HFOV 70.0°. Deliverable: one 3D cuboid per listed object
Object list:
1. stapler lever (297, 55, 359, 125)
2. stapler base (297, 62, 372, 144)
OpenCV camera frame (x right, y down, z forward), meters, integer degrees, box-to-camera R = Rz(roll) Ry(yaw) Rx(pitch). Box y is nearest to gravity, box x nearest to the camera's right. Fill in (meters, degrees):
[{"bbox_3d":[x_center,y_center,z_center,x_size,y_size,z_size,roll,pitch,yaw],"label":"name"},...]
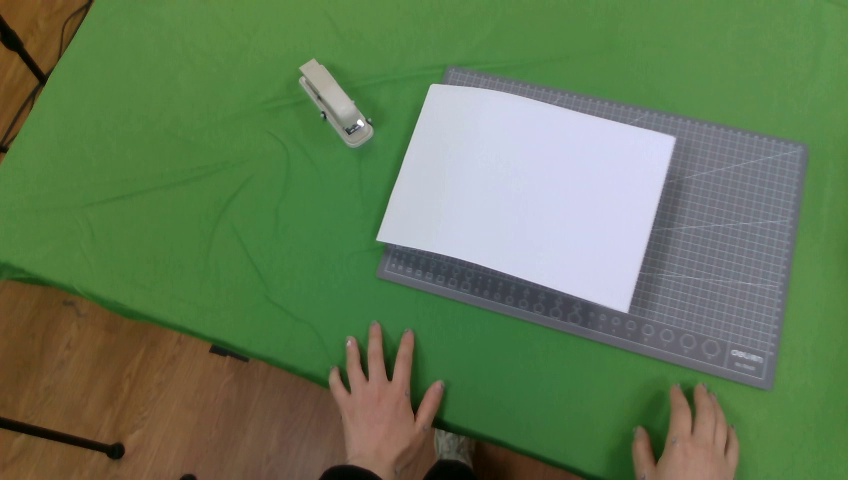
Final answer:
[{"bbox_3d":[-0.121,-0.191,0.758,0.027,0.040,0.117,-35,72,-8],"label":"stapler lever"},{"bbox_3d":[-0.117,-0.182,0.782,0.041,0.024,0.129,-35,72,-8],"label":"stapler base"}]
